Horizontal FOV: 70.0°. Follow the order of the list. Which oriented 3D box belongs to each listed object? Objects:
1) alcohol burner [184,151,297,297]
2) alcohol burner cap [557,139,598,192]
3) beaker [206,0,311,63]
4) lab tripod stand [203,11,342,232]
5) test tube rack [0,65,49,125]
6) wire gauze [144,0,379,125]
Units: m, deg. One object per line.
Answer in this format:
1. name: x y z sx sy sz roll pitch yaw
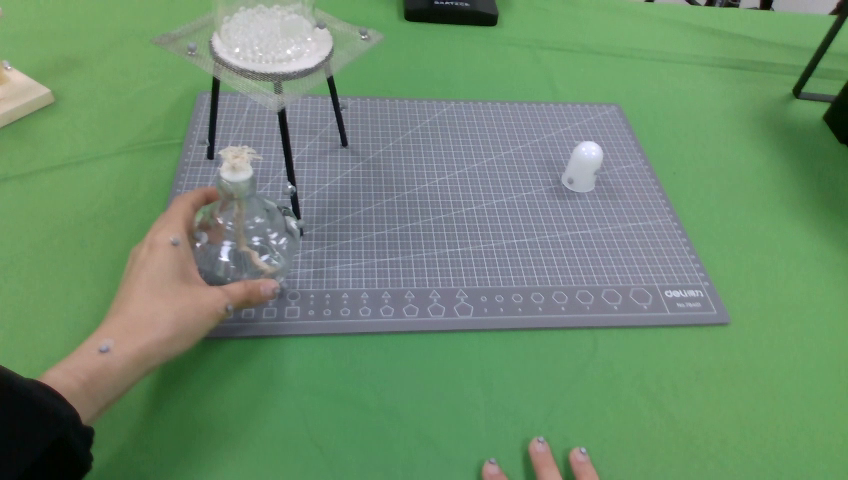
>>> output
1. alcohol burner: -0.130 -0.015 0.426 0.078 0.120 0.077 5 46 -5
2. alcohol burner cap: 0.145 -0.072 0.565 0.034 0.048 0.033 3 47 -3
3. beaker: -0.115 -0.179 0.408 0.073 0.101 0.084 30 52 18
4. lab tripod stand: -0.120 -0.101 0.493 0.148 0.132 0.147 5 48 -5
5. test tube rack: -0.450 -0.108 0.490 0.066 0.086 0.241 29 50 18
6. wire gauze: -0.116 -0.145 0.445 0.124 0.011 0.121 32 54 15
